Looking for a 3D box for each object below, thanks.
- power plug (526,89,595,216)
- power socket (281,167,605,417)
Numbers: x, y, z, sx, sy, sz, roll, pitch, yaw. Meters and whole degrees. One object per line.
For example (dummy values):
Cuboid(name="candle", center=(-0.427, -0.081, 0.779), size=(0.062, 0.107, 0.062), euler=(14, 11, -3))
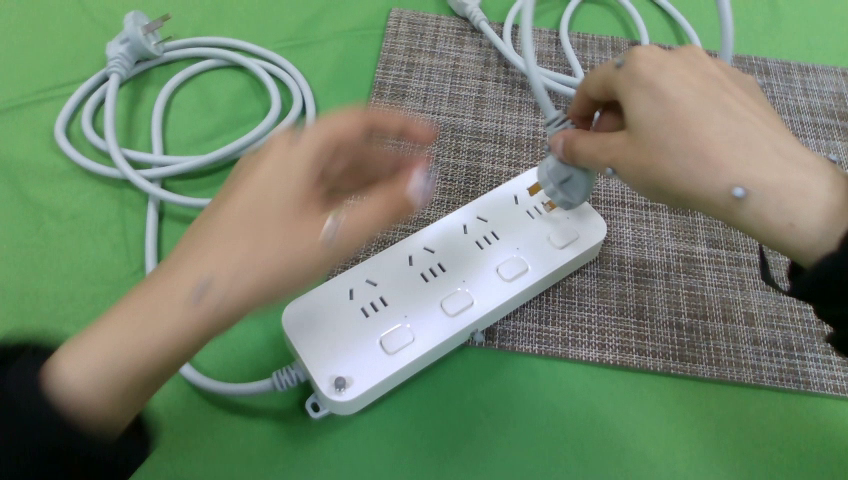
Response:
Cuboid(name="power plug", center=(0.078, -0.051, 0.373), size=(0.035, 0.053, 0.072), euler=(-17, 74, -38))
Cuboid(name="power socket", center=(0.017, 0.025, 0.379), size=(0.227, 0.033, 0.071), euler=(-29, 65, -19))
